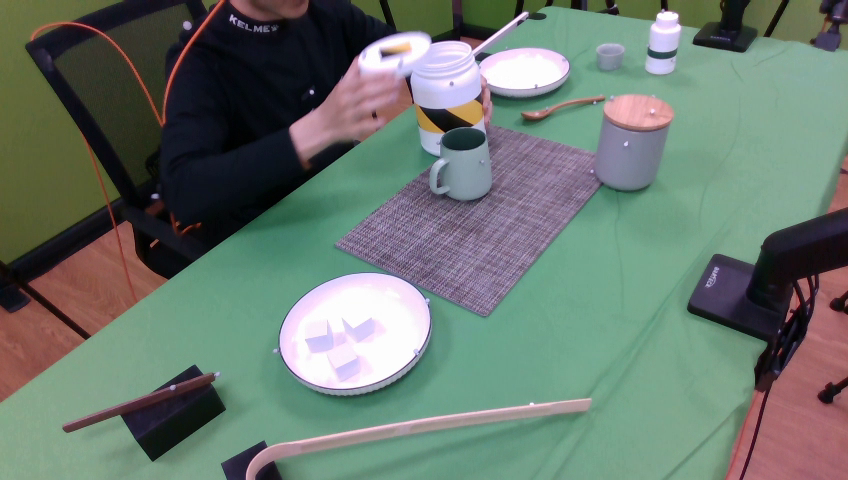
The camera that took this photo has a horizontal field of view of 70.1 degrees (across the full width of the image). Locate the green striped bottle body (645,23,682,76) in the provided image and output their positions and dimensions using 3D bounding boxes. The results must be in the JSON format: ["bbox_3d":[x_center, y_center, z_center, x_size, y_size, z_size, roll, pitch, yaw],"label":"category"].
[{"bbox_3d":[0.520,-0.424,1.312,0.063,0.120,0.063,-4,41,4],"label":"green striped bottle body"}]

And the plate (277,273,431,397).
[{"bbox_3d":[-0.091,0.129,0.821,0.207,0.039,0.206,-4,40,4],"label":"plate"}]

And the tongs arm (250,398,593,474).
[{"bbox_3d":[0.008,0.212,0.675,0.389,0.028,0.028,-5,46,-11],"label":"tongs arm"}]

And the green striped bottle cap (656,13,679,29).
[{"bbox_3d":[0.515,-0.463,1.278,0.044,0.020,0.044,-6,42,6],"label":"green striped bottle cap"}]

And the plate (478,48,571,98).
[{"bbox_3d":[0.223,-0.371,1.357,0.209,0.038,0.208,-4,41,4],"label":"plate"}]

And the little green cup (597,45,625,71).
[{"bbox_3d":[0.423,-0.413,1.375,0.061,0.039,0.061,-3,41,3],"label":"little green cup"}]

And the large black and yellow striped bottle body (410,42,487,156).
[{"bbox_3d":[0.047,-0.266,1.143,0.130,0.185,0.130,-7,38,6],"label":"large black and yellow striped bottle body"}]

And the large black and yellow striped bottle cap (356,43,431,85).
[{"bbox_3d":[-0.047,-0.270,0.922,0.115,0.019,0.114,-8,38,7],"label":"large black and yellow striped bottle cap"}]

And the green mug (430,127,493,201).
[{"bbox_3d":[0.059,-0.122,1.034,0.126,0.105,0.091,-35,48,-27],"label":"green mug"}]

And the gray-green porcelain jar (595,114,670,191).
[{"bbox_3d":[0.346,-0.155,1.017,0.106,0.127,0.105,-2,44,2],"label":"gray-green porcelain jar"}]

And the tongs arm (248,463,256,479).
[{"bbox_3d":[0.012,0.262,0.614,0.385,0.026,0.050,3,42,-2],"label":"tongs arm"}]

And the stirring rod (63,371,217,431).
[{"bbox_3d":[-0.337,0.192,0.723,0.177,0.014,0.005,-18,43,-12],"label":"stirring rod"}]

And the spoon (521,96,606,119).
[{"bbox_3d":[0.291,-0.277,1.249,0.194,0.022,0.041,-17,25,-11],"label":"spoon"}]

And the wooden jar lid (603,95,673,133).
[{"bbox_3d":[0.343,-0.200,0.974,0.108,0.021,0.108,-2,39,2],"label":"wooden jar lid"}]
